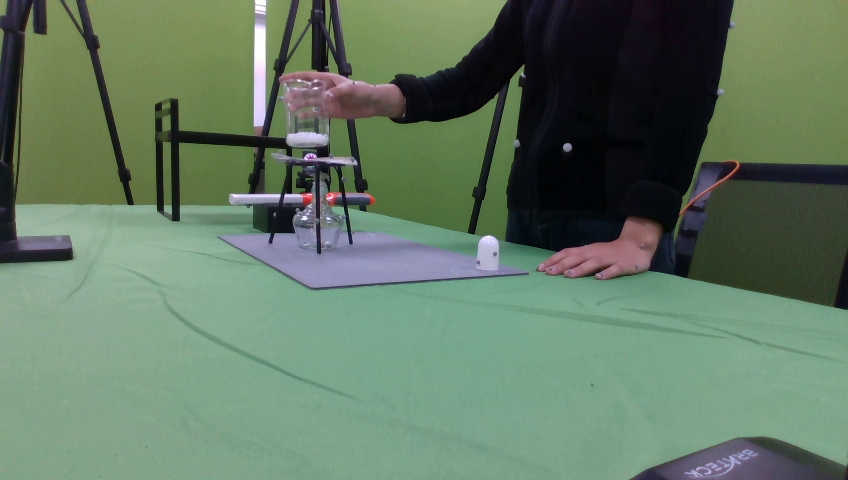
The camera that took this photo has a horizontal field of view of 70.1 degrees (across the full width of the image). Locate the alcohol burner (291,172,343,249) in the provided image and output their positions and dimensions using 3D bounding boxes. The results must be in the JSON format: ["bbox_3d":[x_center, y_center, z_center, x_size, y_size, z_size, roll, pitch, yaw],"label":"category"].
[{"bbox_3d":[-0.162,-0.045,0.922,0.078,0.119,0.078,5,7,0],"label":"alcohol burner"}]

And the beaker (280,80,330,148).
[{"bbox_3d":[-0.188,-0.201,0.970,0.074,0.100,0.083,-5,5,-24],"label":"beaker"}]

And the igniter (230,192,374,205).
[{"bbox_3d":[-0.228,-0.079,1.164,0.278,0.025,0.057,-2,14,-30],"label":"igniter"}]

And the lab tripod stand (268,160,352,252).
[{"bbox_3d":[-0.171,-0.055,0.921,0.148,0.131,0.148,1,8,0],"label":"lab tripod stand"}]

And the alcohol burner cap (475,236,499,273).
[{"bbox_3d":[0.084,0.019,0.799,0.034,0.048,0.034,2,6,0],"label":"alcohol burner cap"}]

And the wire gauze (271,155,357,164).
[{"bbox_3d":[-0.166,-0.122,0.917,0.125,0.011,0.121,0,7,-9],"label":"wire gauze"}]
